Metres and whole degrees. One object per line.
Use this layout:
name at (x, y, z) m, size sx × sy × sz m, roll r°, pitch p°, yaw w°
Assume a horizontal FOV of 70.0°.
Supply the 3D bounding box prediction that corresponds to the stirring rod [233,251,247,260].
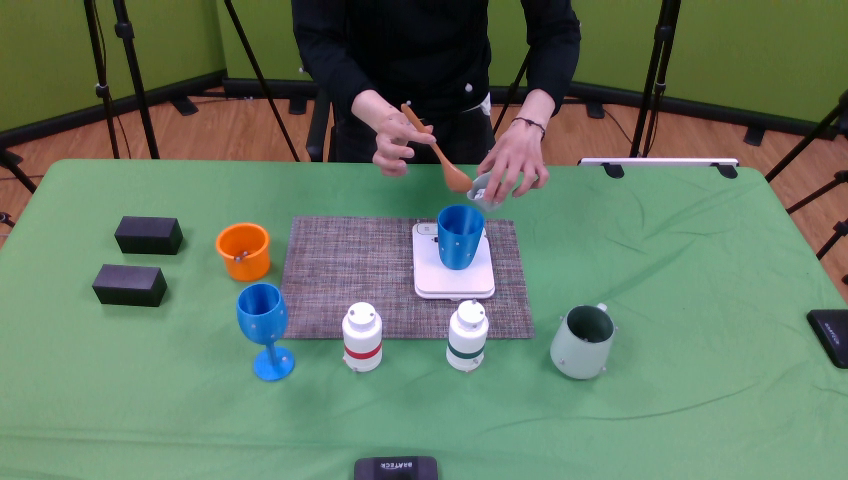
stirring rod at (-0.323, 0.026, 1.067) m, size 0.014 × 0.006 × 0.176 m, roll -9°, pitch 4°, yaw -13°

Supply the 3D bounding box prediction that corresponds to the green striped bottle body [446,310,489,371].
green striped bottle body at (0.071, 0.155, 0.984) m, size 0.063 × 0.120 × 0.063 m, roll 2°, pitch 46°, yaw -2°

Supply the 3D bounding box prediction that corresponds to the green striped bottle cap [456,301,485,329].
green striped bottle cap at (0.073, 0.116, 0.943) m, size 0.044 × 0.020 × 0.044 m, roll 3°, pitch 46°, yaw -3°

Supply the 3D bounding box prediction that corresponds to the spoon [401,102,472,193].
spoon at (0.018, -0.142, 0.958) m, size 0.041 × 0.195 × 0.021 m, roll -19°, pitch 34°, yaw 29°

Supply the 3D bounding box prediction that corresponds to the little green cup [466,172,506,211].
little green cup at (0.107, -0.079, 1.021) m, size 0.061 × 0.039 × 0.061 m, roll -32°, pitch 35°, yaw 25°

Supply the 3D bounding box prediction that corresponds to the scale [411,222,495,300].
scale at (0.052, 0.031, 1.158) m, size 0.149 × 0.032 × 0.199 m, roll 1°, pitch 46°, yaw -4°

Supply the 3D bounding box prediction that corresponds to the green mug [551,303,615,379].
green mug at (0.271, 0.158, 1.007) m, size 0.092 × 0.105 × 0.125 m, roll 27°, pitch 50°, yaw 21°

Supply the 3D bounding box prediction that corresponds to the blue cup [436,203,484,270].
blue cup at (0.062, -0.001, 1.099) m, size 0.093 × 0.101 × 0.092 m, roll 2°, pitch 44°, yaw -2°

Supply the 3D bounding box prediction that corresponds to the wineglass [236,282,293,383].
wineglass at (-0.243, 0.143, 0.934) m, size 0.074 × 0.173 × 0.073 m, roll 2°, pitch 46°, yaw -2°

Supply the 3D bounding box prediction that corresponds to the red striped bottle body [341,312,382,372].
red striped bottle body at (-0.100, 0.154, 0.972) m, size 0.063 × 0.120 × 0.062 m, roll 2°, pitch 46°, yaw -1°

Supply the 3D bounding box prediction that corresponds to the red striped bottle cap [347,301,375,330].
red striped bottle cap at (-0.097, 0.116, 0.934) m, size 0.044 × 0.018 × 0.044 m, roll 2°, pitch 49°, yaw -2°
